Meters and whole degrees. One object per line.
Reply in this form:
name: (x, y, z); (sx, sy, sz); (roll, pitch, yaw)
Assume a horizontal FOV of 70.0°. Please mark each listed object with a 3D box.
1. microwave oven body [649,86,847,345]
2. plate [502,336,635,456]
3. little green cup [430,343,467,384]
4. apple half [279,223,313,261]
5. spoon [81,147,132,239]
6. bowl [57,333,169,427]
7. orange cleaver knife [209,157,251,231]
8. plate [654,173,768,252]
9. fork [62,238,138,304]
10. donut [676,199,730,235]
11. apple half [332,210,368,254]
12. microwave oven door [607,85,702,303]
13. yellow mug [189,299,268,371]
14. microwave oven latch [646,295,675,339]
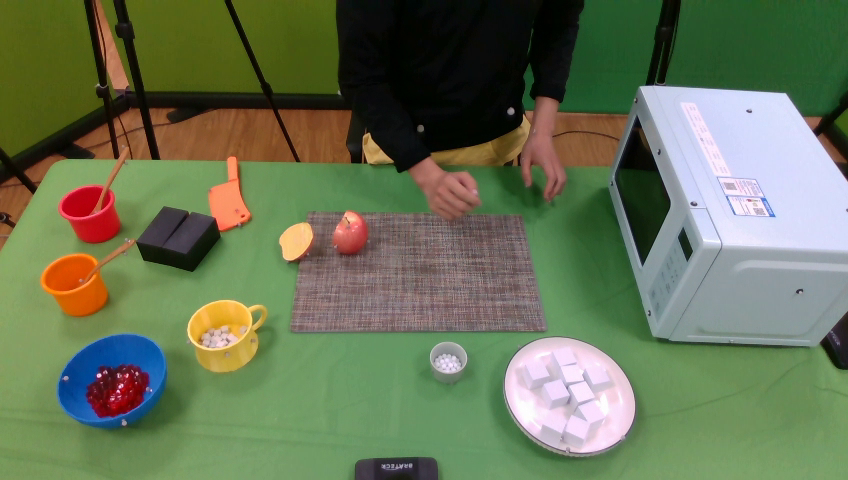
microwave oven body: (0.567, -0.053, 1.118); (0.326, 0.261, 0.439); (2, 45, -1)
plate: (0.225, 0.248, 0.964); (0.208, 0.039, 0.206); (2, 46, -2)
little green cup: (0.039, 0.203, 0.994); (0.061, 0.039, 0.061); (2, 46, -2)
apple half: (-0.237, 0.007, 1.157); (0.081, 0.033, 0.081); (-14, 58, 23)
spoon: (-0.603, -0.089, 1.156); (0.041, 0.022, 0.193); (27, 94, 19)
bowl: (-0.456, 0.223, 0.912); (0.151, 0.077, 0.150); (3, 45, -2)
orange cleaver knife: (-0.409, -0.099, 1.266); (0.077, 0.012, 0.210); (-14, 50, -9)
plate: (0.556, -0.050, 1.187); (0.209, 0.038, 0.208); (1, 47, -1)
fork: (-0.547, 0.053, 1.018); (0.207, 0.019, 0.028); (-36, 41, 23)
donut: (0.538, -0.045, 1.170); (0.099, 0.048, 0.098); (3, 33, -2)
apple half: (-0.136, -0.010, 1.158); (0.053, 0.075, 0.080); (17, 44, 7)
microwave oven door: (0.423, -0.094, 1.140); (0.039, 0.245, 0.353); (2, 46, -1)
yellow mug: (-0.316, 0.148, 1.002); (0.131, 0.064, 0.099); (-33, 56, -31)
microwave oven latch: (0.412, 0.134, 1.061); (0.030, 0.029, 0.078); (4, 45, 1)
